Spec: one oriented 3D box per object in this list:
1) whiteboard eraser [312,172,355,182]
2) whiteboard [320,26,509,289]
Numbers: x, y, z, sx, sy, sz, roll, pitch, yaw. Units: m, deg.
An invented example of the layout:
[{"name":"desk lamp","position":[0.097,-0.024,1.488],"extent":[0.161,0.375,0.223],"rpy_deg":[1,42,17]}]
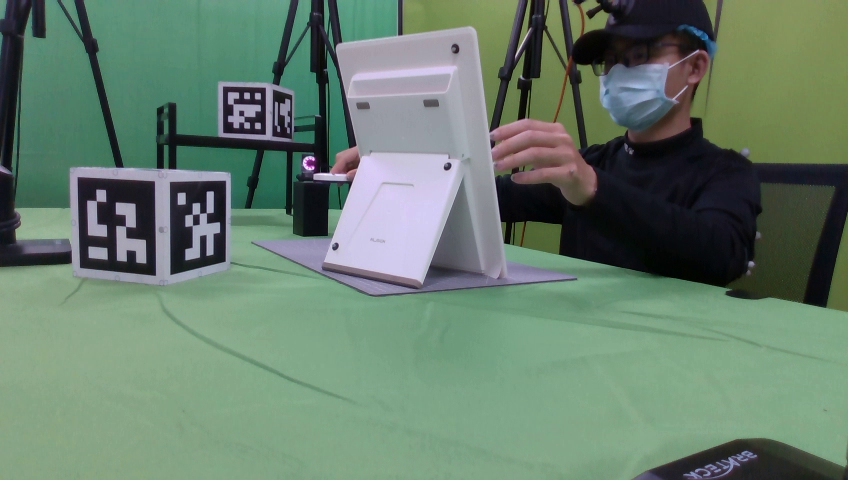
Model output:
[{"name":"whiteboard eraser","position":[-0.166,-0.122,1.165],"extent":[0.102,0.019,0.041],"rpy_deg":[-2,7,-33]},{"name":"whiteboard","position":[-0.046,-0.076,0.721],"extent":[0.216,0.305,0.144],"rpy_deg":[9,29,39]}]
